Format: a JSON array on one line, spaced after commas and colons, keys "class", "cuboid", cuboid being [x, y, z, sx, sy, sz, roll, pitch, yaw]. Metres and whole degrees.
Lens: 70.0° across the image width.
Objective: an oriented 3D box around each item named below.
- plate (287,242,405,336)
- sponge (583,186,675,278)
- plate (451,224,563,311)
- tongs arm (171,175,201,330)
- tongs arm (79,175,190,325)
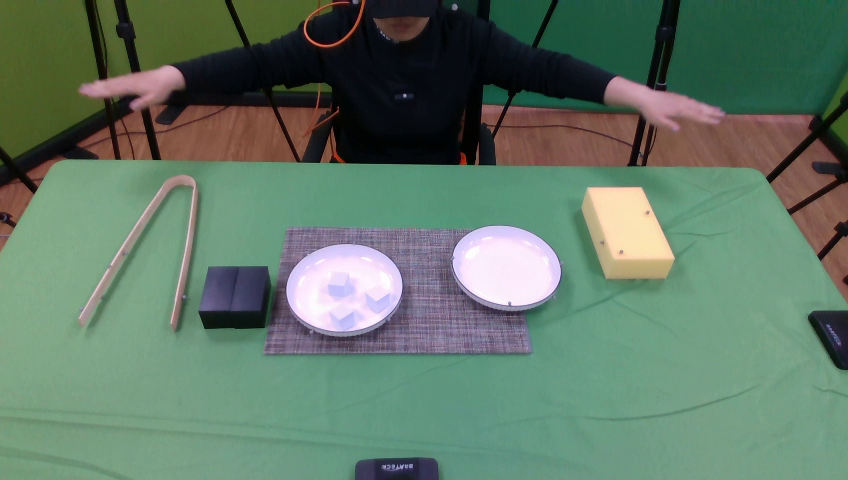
[{"class": "plate", "cuboid": [-0.138, 0.090, 1.084, 0.208, 0.039, 0.206, 2, 46, -2]}, {"class": "sponge", "cuboid": [0.404, -0.020, 1.215, 0.118, 0.061, 0.205, -2, 46, -4]}, {"class": "plate", "cuboid": [0.154, 0.053, 1.140, 0.209, 0.038, 0.208, 2, 46, -2]}, {"class": "tongs arm", "cuboid": [-0.453, 0.010, 1.151, 0.028, 0.028, 0.385, -6, 47, -6]}, {"class": "tongs arm", "cuboid": [-0.534, 0.004, 1.145, 0.051, 0.026, 0.382, 6, 45, 1]}]
